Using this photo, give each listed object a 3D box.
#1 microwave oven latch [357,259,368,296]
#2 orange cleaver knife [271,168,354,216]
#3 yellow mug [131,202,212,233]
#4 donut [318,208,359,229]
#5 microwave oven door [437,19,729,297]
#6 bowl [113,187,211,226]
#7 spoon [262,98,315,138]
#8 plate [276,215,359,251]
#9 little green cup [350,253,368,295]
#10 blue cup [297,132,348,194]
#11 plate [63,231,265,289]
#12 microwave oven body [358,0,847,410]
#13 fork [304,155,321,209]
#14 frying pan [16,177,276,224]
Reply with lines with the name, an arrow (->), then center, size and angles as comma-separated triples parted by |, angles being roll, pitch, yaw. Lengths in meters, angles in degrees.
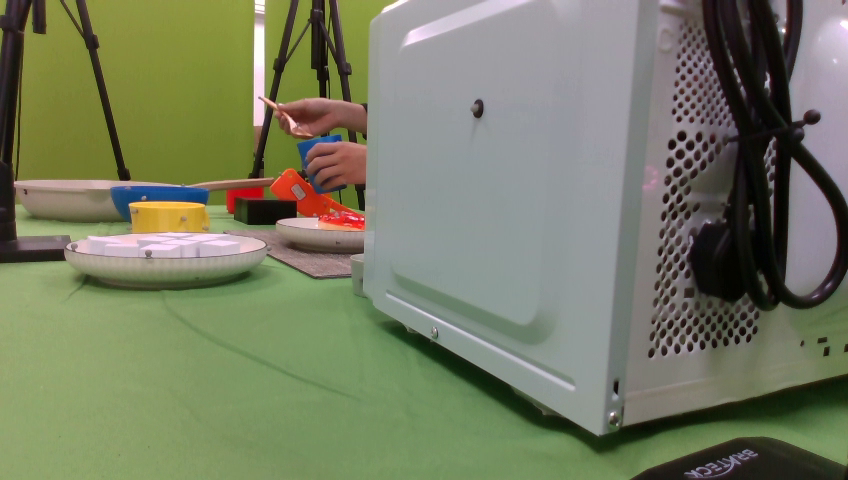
microwave oven latch -> -0.019, 0.031, 0.528 | 0.079, 0.029, 0.030 | -1, 7, -25
orange cleaver knife -> -0.237, -0.084, 1.332 | 0.212, 0.077, 0.012 | 31, -9, -31
yellow mug -> -0.356, -0.020, 0.878 | 0.099, 0.064, 0.131 | 5, 7, 21
donut -> -0.118, -0.024, 0.954 | 0.099, 0.048, 0.099 | 5, 6, 0
microwave oven door -> 0.180, -0.076, 0.618 | 0.358, 0.243, 0.039 | -2, 9, -28
bowl -> -0.436, -0.046, 1.013 | 0.151, 0.077, 0.151 | 2, 7, 0
spoon -> -0.283, -0.253, 1.241 | 0.042, 0.021, 0.193 | -5, 39, -44
plate -> -0.126, -0.012, 0.950 | 0.209, 0.038, 0.209 | 2, 7, 0
little green cup -> -0.048, 0.035, 0.632 | 0.061, 0.038, 0.061 | 3, 6, 0
blue cup -> -0.183, -0.141, 1.126 | 0.092, 0.100, 0.092 | -12, 10, 3
plate -> -0.288, 0.021, 0.687 | 0.208, 0.039, 0.207 | 2, 8, 0
microwave oven body -> 0.210, -0.051, 0.471 | 0.444, 0.260, 0.324 | -1, 7, -28
fork -> -0.268, -0.134, 1.446 | 0.028, 0.018, 0.207 | 0, -36, -2
frying pan -> -0.554, -0.097, 1.266 | 0.490, 0.102, 0.305 | -10, 13, -24
